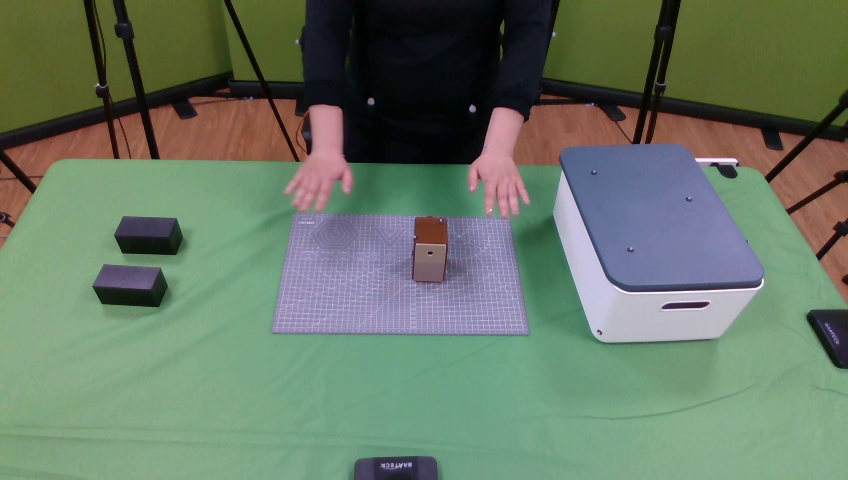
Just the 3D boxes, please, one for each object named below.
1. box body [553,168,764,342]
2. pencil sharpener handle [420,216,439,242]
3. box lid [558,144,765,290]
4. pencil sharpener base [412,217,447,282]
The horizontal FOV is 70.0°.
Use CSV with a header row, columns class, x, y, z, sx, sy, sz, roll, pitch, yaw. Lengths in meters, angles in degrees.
class,x,y,z,sx,sy,sz,roll,pitch,yaw
box body,0.403,0.006,1.125,0.254,0.161,0.361,-2,46,-5
pencil sharpener handle,0.008,-0.027,1.145,0.036,0.068,0.030,6,44,-6
box lid,0.403,-0.054,1.073,0.263,0.015,0.369,-2,45,-5
pencil sharpener base,0.009,0.017,1.117,0.061,0.107,0.076,1,45,-2
